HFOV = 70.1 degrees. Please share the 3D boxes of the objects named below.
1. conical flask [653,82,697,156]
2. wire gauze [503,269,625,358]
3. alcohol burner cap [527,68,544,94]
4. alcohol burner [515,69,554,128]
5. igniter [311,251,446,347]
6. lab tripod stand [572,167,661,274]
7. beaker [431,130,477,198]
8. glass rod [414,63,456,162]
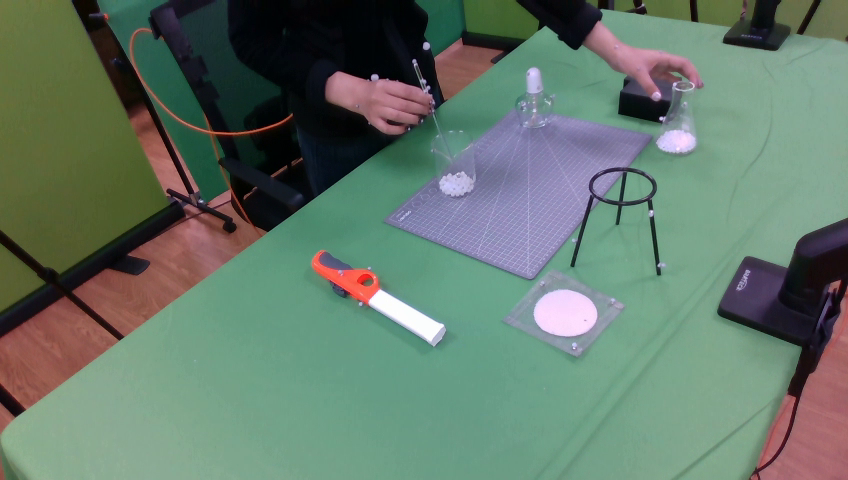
[{"bbox_3d":[0.454,-0.218,1.077,0.075,0.122,0.075,-5,40,5],"label":"conical flask"},{"bbox_3d":[0.194,0.100,0.840,0.120,0.011,0.125,27,54,36],"label":"wire gauze"},{"bbox_3d":[0.216,-0.312,1.180,0.034,0.048,0.033,-9,41,9],"label":"alcohol burner cap"},{"bbox_3d":[0.221,-0.285,1.203,0.078,0.119,0.077,-4,39,4],"label":"alcohol burner"},{"bbox_3d":[-0.078,0.081,0.899,0.274,0.025,0.057,27,62,35],"label":"igniter"},{"bbox_3d":[0.284,-0.030,0.879,0.148,0.132,0.147,-7,38,6],"label":"lab tripod stand"},{"bbox_3d":[0.055,-0.130,1.064,0.074,0.101,0.083,-4,41,8],"label":"beaker"},{"bbox_3d":[0.020,-0.200,0.978,0.008,0.201,0.008,-13,45,14],"label":"glass rod"}]
